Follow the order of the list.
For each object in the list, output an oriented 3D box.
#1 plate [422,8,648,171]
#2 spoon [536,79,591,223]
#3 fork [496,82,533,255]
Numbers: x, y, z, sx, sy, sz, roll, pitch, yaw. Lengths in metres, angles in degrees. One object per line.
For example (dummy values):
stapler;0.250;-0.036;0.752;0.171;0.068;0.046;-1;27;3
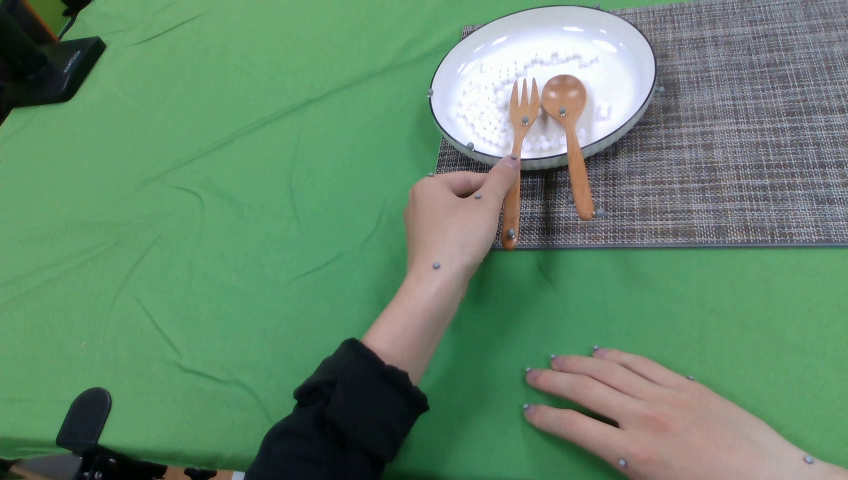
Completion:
plate;0.102;-0.141;0.576;0.207;0.039;0.205;-8;54;11
spoon;0.119;-0.081;0.508;0.041;0.022;0.192;-5;41;10
fork;0.075;-0.070;0.514;0.028;0.019;0.205;3;48;11
